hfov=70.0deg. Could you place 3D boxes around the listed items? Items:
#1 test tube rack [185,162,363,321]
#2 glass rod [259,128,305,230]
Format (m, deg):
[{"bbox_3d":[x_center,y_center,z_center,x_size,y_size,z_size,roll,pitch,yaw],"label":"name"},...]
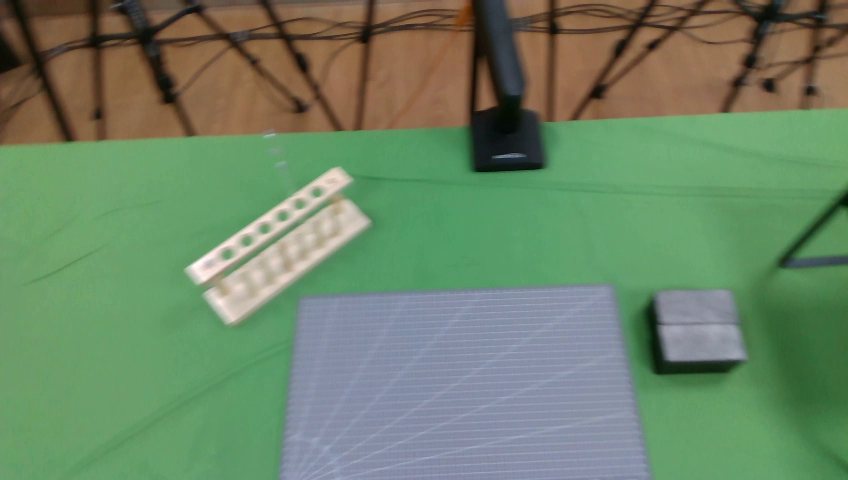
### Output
[{"bbox_3d":[-0.203,0.000,0.856,0.242,0.086,0.066,-39,66,-20],"label":"test tube rack"},{"bbox_3d":[-0.191,-0.076,0.824,0.008,0.201,0.008,-3,53,5],"label":"glass rod"}]
